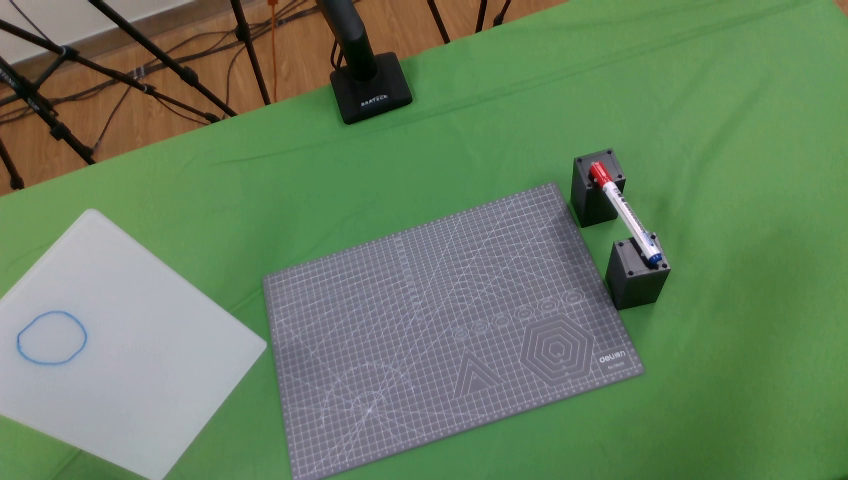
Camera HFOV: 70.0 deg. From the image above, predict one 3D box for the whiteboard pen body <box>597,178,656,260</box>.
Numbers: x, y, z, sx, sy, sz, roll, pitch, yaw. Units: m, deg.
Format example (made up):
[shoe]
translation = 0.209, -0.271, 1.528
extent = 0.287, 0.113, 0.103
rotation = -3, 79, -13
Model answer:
[whiteboard pen body]
translation = 0.235, -0.035, 0.724
extent = 0.017, 0.017, 0.139
rotation = -23, 62, -2

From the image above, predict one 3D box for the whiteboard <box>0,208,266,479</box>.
[whiteboard]
translation = -0.388, 0.119, 0.737
extent = 0.142, 0.309, 0.216
rotation = 21, 67, 41

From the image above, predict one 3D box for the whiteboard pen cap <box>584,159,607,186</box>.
[whiteboard pen cap]
translation = 0.214, -0.084, 0.752
extent = 0.017, 0.017, 0.032
rotation = -22, 63, -2
